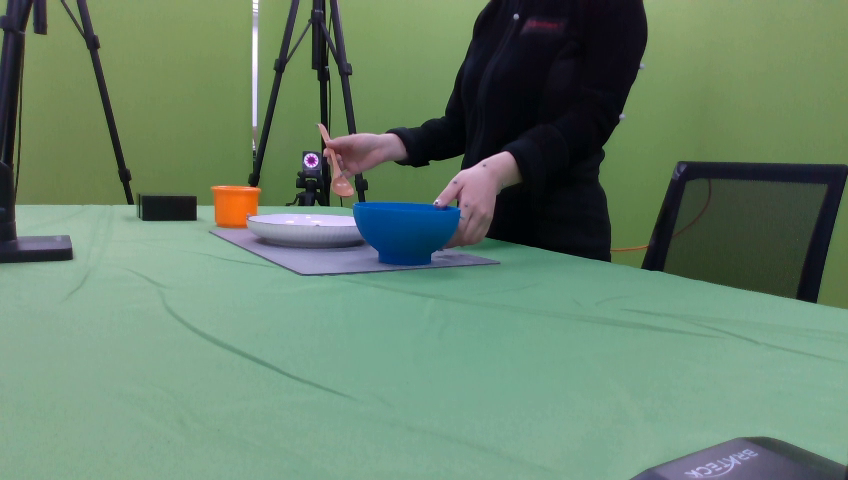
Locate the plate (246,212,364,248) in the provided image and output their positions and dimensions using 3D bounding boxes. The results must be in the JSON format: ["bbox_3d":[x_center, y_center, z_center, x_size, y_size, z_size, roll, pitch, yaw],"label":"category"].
[{"bbox_3d":[-0.185,-0.017,0.994,0.209,0.038,0.209,3,8,0],"label":"plate"}]

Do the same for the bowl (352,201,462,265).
[{"bbox_3d":[-0.024,-0.009,0.831,0.151,0.077,0.151,3,7,0],"label":"bowl"}]

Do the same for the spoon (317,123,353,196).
[{"bbox_3d":[-0.177,-0.158,1.175,0.042,0.193,0.021,-6,-30,-26],"label":"spoon"}]
